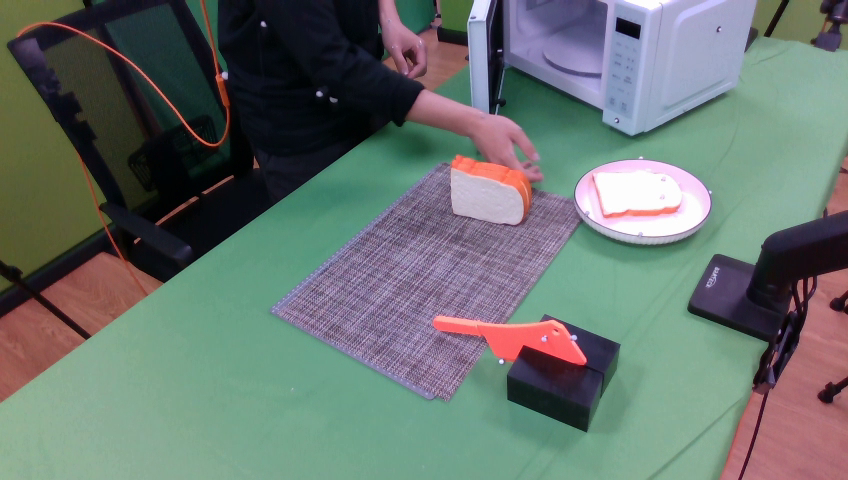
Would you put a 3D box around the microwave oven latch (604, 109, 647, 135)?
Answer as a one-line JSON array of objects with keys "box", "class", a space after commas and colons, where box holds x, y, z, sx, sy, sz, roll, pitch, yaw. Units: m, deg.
[{"box": [0.378, -0.225, 1.139, 0.030, 0.029, 0.078, -26, 43, -20], "class": "microwave oven latch"}]

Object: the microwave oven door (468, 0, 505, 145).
[{"box": [0.129, -0.388, 1.208, 0.039, 0.245, 0.355, 2, 42, 11], "class": "microwave oven door"}]

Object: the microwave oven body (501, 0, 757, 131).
[{"box": [0.396, -0.448, 1.248, 0.327, 0.261, 0.437, -27, 44, -21], "class": "microwave oven body"}]

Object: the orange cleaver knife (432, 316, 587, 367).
[{"box": [0.101, 0.127, 0.761, 0.210, 0.077, 0.012, -1, 34, 40], "class": "orange cleaver knife"}]

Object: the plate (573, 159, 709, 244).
[{"box": [0.347, -0.059, 0.979, 0.207, 0.039, 0.206, -4, 41, 4], "class": "plate"}]

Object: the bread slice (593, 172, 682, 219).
[{"box": [0.351, -0.076, 0.995, 0.134, 0.018, 0.106, -4, 44, 1], "class": "bread slice"}]
